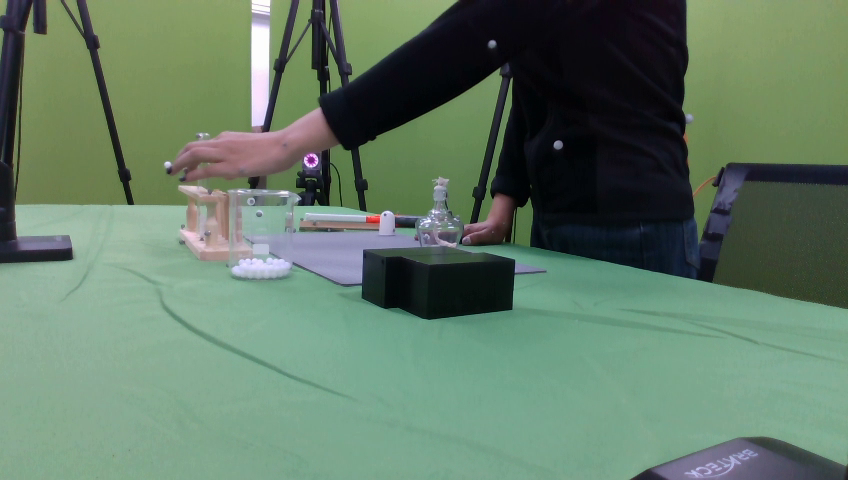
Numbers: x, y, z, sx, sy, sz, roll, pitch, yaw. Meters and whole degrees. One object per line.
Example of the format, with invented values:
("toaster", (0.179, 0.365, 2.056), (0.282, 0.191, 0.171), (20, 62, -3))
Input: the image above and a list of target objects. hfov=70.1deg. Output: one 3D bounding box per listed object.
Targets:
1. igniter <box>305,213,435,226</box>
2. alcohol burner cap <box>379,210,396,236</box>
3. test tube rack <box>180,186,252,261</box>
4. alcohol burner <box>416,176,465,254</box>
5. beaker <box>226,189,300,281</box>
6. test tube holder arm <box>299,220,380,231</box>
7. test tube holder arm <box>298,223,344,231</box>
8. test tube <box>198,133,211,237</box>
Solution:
("igniter", (-0.114, -0.046, 1.296), (0.277, 0.025, 0.057), (1, -2, -11))
("alcohol burner cap", (-0.067, -0.032, 1.129), (0.034, 0.048, 0.034), (2, 8, 0))
("test tube rack", (-0.312, -0.031, 0.893), (0.067, 0.085, 0.241), (-1, 8, -28))
("alcohol burner", (0.025, -0.040, 0.935), (0.078, 0.119, 0.078), (1, 6, 0))
("beaker", (-0.184, -0.007, 0.694), (0.084, 0.100, 0.073), (-1, 8, -29))
("test tube holder arm", (-0.153, -0.028, 1.174), (0.179, 0.015, 0.013), (1, -27, -21))
("test tube holder arm", (-0.197, -0.026, 1.163), (0.088, 0.015, 0.010), (0, -27, -19))
("test tube", (-0.316, -0.079, 0.871), (0.017, 0.150, 0.017), (2, 3, 0))
